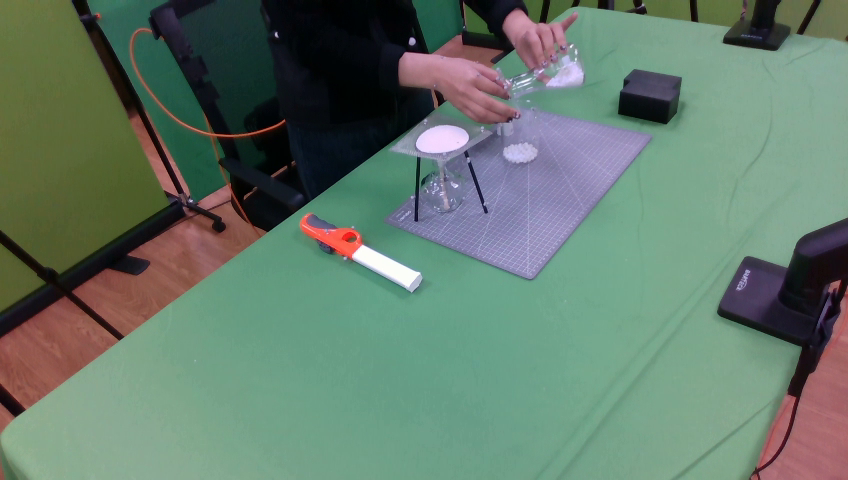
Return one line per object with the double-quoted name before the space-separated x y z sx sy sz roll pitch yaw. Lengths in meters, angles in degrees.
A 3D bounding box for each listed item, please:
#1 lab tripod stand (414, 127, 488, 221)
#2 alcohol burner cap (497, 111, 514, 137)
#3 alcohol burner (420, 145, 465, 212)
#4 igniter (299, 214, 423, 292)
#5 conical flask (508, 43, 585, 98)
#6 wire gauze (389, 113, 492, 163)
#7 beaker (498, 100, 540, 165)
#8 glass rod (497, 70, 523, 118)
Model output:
"lab tripod stand" 0.035 -0.114 1.021 0.148 0.132 0.147 -7 39 6
"alcohol burner cap" 0.163 -0.235 1.211 0.034 0.048 0.033 -7 40 6
"alcohol burner" 0.030 -0.108 1.030 0.078 0.119 0.077 -5 38 4
"igniter" -0.112 0.016 0.983 0.274 0.025 0.057 26 62 35
"conical flask" 0.207 -0.280 1.032 0.122 0.076 0.075 -19 40 8
"wire gauze" 0.026 -0.164 0.977 0.120 0.011 0.125 24 49 35
"beaker" 0.180 -0.196 1.117 0.074 0.101 0.083 -25 43 -17
"glass rod" 0.149 -0.247 1.036 0.008 0.201 0.008 -3 79 19
